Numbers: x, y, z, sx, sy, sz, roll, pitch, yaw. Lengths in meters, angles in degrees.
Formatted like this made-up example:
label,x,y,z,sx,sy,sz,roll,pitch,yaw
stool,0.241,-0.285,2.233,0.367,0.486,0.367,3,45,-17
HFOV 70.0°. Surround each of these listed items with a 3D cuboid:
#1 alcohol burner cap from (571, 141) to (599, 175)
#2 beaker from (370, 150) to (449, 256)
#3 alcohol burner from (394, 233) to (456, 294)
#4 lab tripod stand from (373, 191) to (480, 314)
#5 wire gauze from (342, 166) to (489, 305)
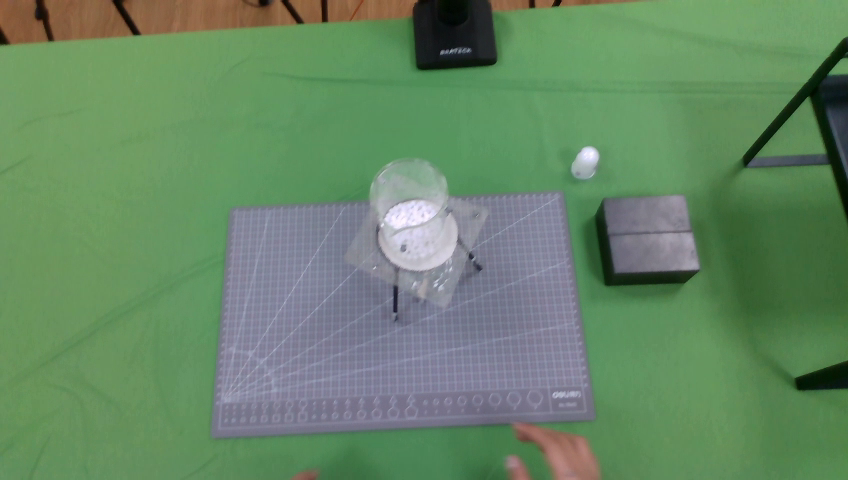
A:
label,x,y,z,sx,sy,sz,roll,pitch,yaw
alcohol burner cap,0.216,-0.111,0.806,0.034,0.048,0.033,-1,68,3
beaker,-0.014,-0.029,0.608,0.074,0.101,0.083,21,70,10
alcohol burner,0.000,0.022,0.721,0.078,0.120,0.077,0,70,1
lab tripod stand,-0.004,0.009,0.715,0.148,0.132,0.147,0,67,1
wire gauze,-0.008,-0.009,0.652,0.125,0.011,0.121,25,73,8
